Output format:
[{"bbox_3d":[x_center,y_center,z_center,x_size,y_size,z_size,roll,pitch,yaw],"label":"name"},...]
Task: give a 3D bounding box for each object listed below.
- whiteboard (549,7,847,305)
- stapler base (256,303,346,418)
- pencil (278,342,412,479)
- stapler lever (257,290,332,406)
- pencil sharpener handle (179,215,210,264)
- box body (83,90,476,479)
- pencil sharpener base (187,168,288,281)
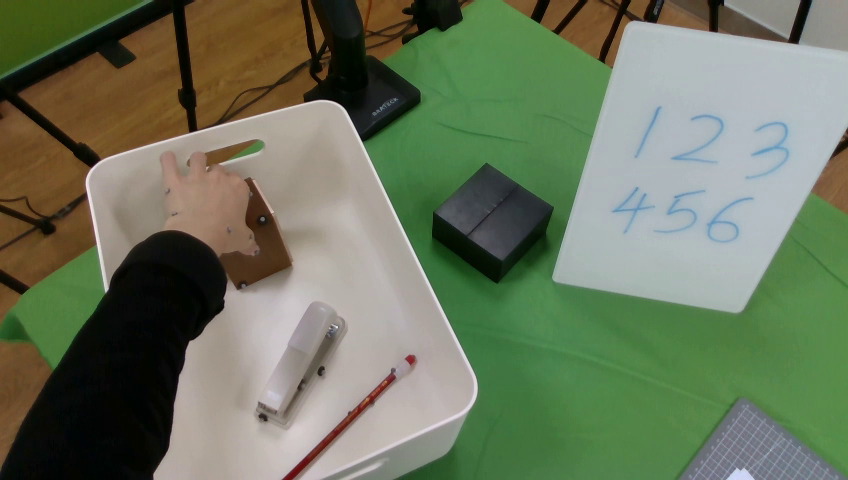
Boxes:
[{"bbox_3d":[0.275,-0.103,0.653,0.217,0.308,0.143,10,40,5],"label":"whiteboard"},{"bbox_3d":[-0.127,0.116,0.627,0.041,0.024,0.130,19,62,16],"label":"stapler base"},{"bbox_3d":[-0.079,0.172,0.604,0.012,0.012,0.194,37,65,19],"label":"pencil"},{"bbox_3d":[-0.129,0.103,0.603,0.026,0.040,0.117,19,64,16],"label":"stapler lever"},{"bbox_3d":[-0.243,0.003,0.627,0.030,0.068,0.035,-28,67,-16],"label":"pencil sharpener handle"},{"bbox_3d":[-0.140,0.060,0.587,0.254,0.161,0.360,-20,62,-13],"label":"box body"},{"bbox_3d":[-0.199,-0.013,0.652,0.077,0.108,0.061,-28,65,-16],"label":"pencil sharpener base"}]
